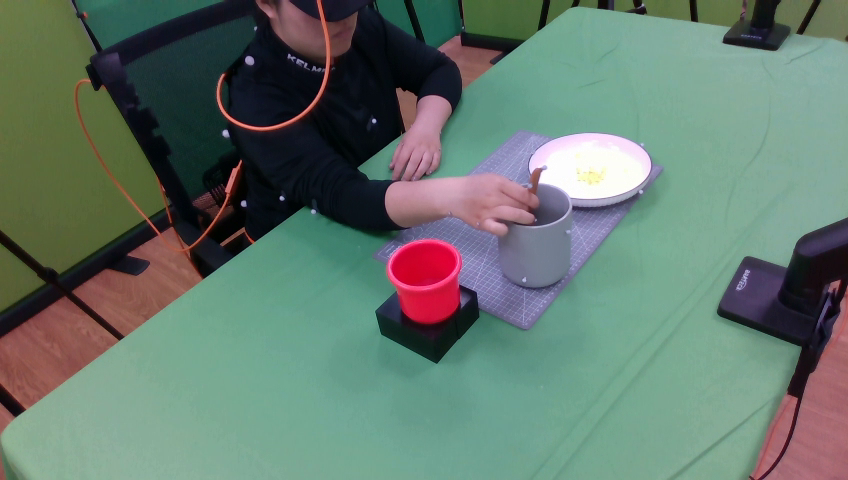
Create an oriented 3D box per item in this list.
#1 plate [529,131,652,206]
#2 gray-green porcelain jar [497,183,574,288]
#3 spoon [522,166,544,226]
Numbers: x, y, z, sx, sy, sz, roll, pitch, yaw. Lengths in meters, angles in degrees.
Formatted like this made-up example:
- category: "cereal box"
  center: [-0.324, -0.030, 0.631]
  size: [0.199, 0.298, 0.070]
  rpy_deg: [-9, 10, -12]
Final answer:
- category: "plate"
  center: [0.287, -0.121, 1.056]
  size: [0.207, 0.039, 0.206]
  rpy_deg: [-5, 40, 5]
- category: "gray-green porcelain jar"
  center: [0.160, -0.003, 0.870]
  size: [0.106, 0.127, 0.105]
  rpy_deg: [-5, 40, 5]
- category: "spoon"
  center: [0.148, -0.042, 0.844]
  size: [0.042, 0.194, 0.021]
  rpy_deg: [-7, 55, -2]
